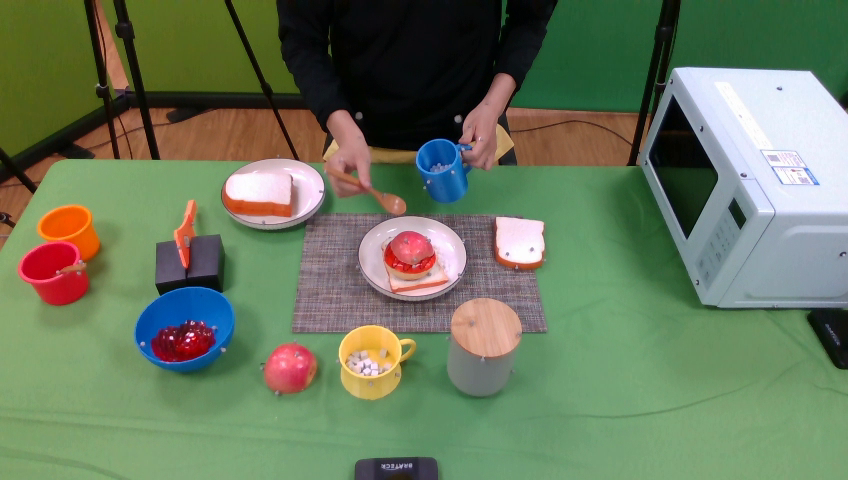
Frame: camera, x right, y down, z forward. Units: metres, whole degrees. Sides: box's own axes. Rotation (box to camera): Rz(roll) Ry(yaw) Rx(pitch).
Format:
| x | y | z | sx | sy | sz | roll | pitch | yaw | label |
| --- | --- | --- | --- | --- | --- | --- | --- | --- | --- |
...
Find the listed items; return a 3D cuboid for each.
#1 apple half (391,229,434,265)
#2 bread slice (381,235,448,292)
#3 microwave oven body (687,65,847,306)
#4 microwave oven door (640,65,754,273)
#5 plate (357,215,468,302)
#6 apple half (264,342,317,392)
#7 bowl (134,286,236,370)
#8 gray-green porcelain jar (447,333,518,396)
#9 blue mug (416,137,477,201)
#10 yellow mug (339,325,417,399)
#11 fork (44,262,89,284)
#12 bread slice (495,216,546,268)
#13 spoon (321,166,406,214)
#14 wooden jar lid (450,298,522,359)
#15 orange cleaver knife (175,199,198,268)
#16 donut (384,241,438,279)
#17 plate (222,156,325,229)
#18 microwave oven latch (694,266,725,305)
| x | y | z | sx | sy | sz | roll | pitch | yaw | label |
| --- | --- | --- | --- | --- | --- | --- | --- | --- | --- |
| -0.021 | 0.003 | 1.085 | 0.081 | 0.033 | 0.081 | 7 | 45 | -7 | apple half |
| -0.027 | 0.039 | 1.140 | 0.107 | 0.018 | 0.133 | -12 | 49 | -15 | bread slice |
| 0.669 | -0.111 | 1.176 | 0.326 | 0.261 | 0.439 | 0 | 46 | -3 | microwave oven body |
| 0.523 | -0.147 | 1.193 | 0.039 | 0.245 | 0.353 | 0 | 47 | -3 | microwave oven door |
| -0.022 | 0.037 | 1.141 | 0.208 | 0.039 | 0.206 | 2 | 46 | -2 | plate |
| -0.214 | 0.198 | 0.970 | 0.074 | 0.053 | 0.080 | 19 | 47 | 11 | apple half |
| -0.377 | 0.155 | 0.981 | 0.151 | 0.077 | 0.150 | 2 | 46 | -2 | bowl |
| 0.091 | 0.178 | 0.960 | 0.106 | 0.127 | 0.105 | 2 | 46 | -2 | gray-green porcelain jar |
| 0.051 | -0.143 | 1.166 | 0.116 | 0.106 | 0.082 | -31 | 59 | -2 | blue mug |
| -0.072 | 0.190 | 0.978 | 0.131 | 0.064 | 0.099 | -17 | 50 | -20 | yellow mug |
| -0.598 | 0.054 | 1.014 | 0.207 | 0.019 | 0.028 | -15 | 29 | 45 | fork |
| 0.194 | 0.002 | 1.205 | 0.105 | 0.019 | 0.131 | 5 | 45 | 2 | bread slice |
| -0.101 | -0.089 | 1.048 | 0.021 | 0.195 | 0.041 | -23 | 57 | 32 | spoon |
| 0.093 | 0.135 | 0.914 | 0.108 | 0.021 | 0.107 | 2 | 48 | -3 | wooden jar lid |
| -0.438 | -0.017 | 1.138 | 0.012 | 0.077 | 0.210 | -14 | 27 | -7 | orange cleaver knife |
| -0.025 | 0.029 | 1.110 | 0.099 | 0.048 | 0.098 | 3 | 46 | -2 | donut |
| -0.308 | -0.095 | 1.251 | 0.209 | 0.038 | 0.208 | 2 | 47 | -2 | plate |
| 0.523 | 0.082 | 1.115 | 0.030 | 0.029 | 0.078 | 3 | 46 | 0 | microwave oven latch |
